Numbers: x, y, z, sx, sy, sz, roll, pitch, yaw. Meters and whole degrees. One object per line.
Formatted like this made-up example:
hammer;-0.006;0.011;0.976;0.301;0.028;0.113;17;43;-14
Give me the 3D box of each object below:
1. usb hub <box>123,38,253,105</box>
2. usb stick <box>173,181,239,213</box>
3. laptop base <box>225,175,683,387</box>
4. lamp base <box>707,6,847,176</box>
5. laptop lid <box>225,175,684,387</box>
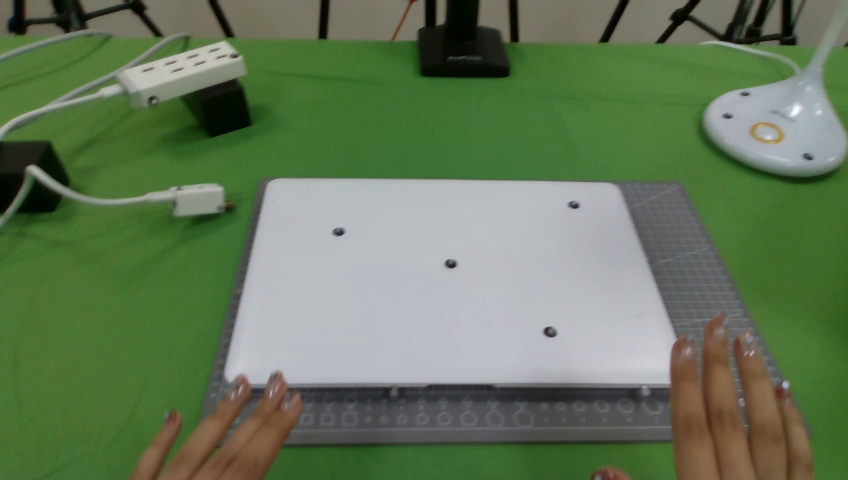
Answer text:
usb hub;-0.256;-0.185;0.663;0.125;0.025;0.049;-28;54;-26
usb stick;-0.209;-0.042;0.586;0.059;0.027;0.021;-7;20;-40
laptop base;0.024;0.030;0.540;0.355;0.023;0.233;1;49;-3
lamp base;0.426;-0.190;0.666;0.159;0.182;0.179;30;49;24
laptop lid;0.025;0.023;0.530;0.357;0.013;0.239;2;47;-1
